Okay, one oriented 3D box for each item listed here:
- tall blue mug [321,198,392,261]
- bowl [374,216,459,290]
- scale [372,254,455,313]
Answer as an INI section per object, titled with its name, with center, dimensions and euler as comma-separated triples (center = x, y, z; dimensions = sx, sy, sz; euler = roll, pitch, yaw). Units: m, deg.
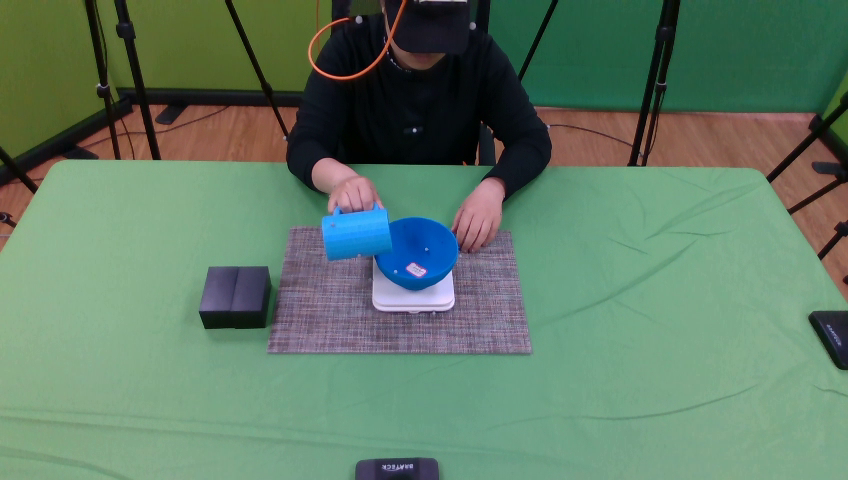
[tall blue mug]
center = -0.114, -0.025, 1.015
dimensions = 0.108, 0.078, 0.107
euler = -8, 80, -1
[bowl]
center = -0.015, 0.036, 1.075
dimensions = 0.151, 0.077, 0.150
euler = 1, 46, -1
[scale]
center = -0.022, 0.051, 1.134
dimensions = 0.149, 0.032, 0.199
euler = 1, 46, -4
